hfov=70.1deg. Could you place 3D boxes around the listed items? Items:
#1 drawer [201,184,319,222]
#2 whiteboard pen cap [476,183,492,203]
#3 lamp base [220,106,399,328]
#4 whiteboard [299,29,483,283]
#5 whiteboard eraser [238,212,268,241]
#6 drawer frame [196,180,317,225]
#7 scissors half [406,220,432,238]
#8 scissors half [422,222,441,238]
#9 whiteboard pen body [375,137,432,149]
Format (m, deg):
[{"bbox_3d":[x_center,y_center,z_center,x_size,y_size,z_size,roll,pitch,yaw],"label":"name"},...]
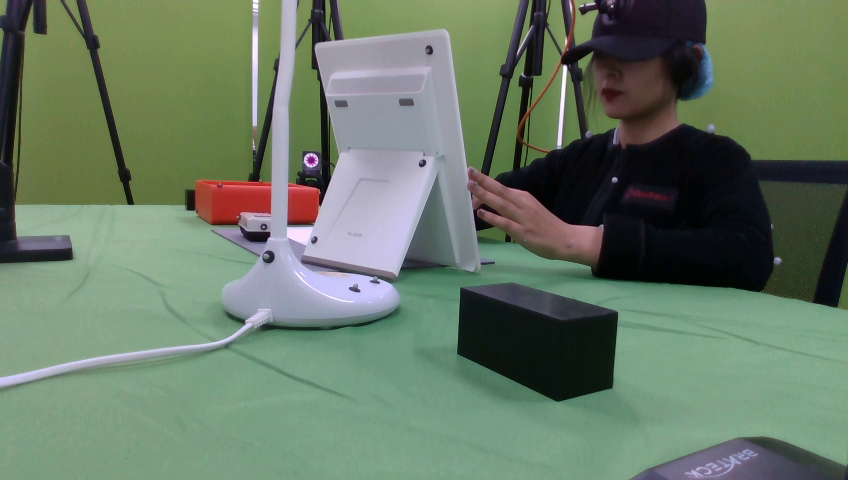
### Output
[{"bbox_3d":[-0.353,-0.082,1.295,0.213,0.073,0.193,-2,10,-28],"label":"drawer"},{"bbox_3d":[0.078,-0.064,0.806,0.018,0.018,0.033,1,32,-14],"label":"whiteboard pen cap"},{"bbox_3d":[-0.102,-0.023,0.531,0.160,0.180,0.179,4,10,10],"label":"lamp base"},{"bbox_3d":[-0.074,-0.082,0.742,0.216,0.305,0.144,9,29,38],"label":"whiteboard"},{"bbox_3d":[-0.272,-0.023,0.998,0.056,0.042,0.112,-2,9,-24],"label":"whiteboard eraser"},{"bbox_3d":[-0.359,-0.083,1.292,0.215,0.082,0.200,-2,10,-30],"label":"drawer frame"},{"bbox_3d":[-0.006,-0.021,1.215,0.040,0.013,0.174,6,10,-15],"label":"scissors half"},{"bbox_3d":[0.013,-0.018,1.217,0.040,0.013,0.175,14,10,1],"label":"scissors half"},{"bbox_3d":[-0.028,-0.138,0.862,0.017,0.017,0.141,7,10,30],"label":"whiteboard pen body"}]
